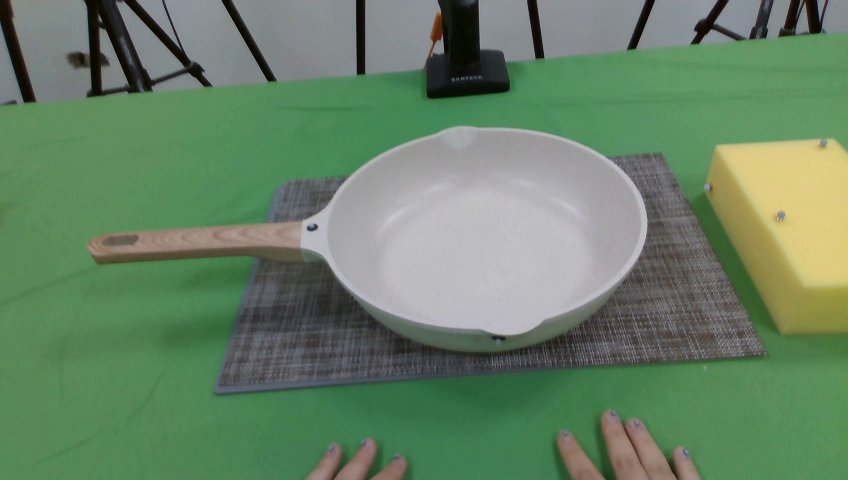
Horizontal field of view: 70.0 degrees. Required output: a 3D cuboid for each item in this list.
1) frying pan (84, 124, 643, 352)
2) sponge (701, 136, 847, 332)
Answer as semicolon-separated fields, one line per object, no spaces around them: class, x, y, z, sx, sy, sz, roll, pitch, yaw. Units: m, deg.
frying pan;-0.053;-0.005;0.560;0.489;0.103;0.303;-1;39;-6
sponge;0.351;-0.014;0.554;0.118;0.061;0.205;-4;40;4
